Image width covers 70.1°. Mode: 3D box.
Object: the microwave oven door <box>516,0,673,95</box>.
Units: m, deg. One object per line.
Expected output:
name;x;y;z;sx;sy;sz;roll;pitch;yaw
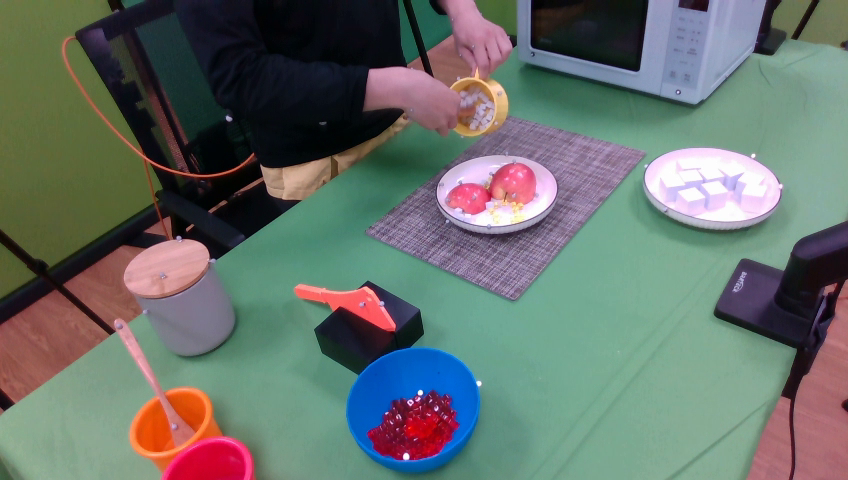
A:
microwave oven door;0.344;-0.458;1.257;0.353;0.245;0.039;26;51;33

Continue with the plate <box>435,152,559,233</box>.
plate;0.124;-0.078;1.026;0.209;0.038;0.208;-4;40;4

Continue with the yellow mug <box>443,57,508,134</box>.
yellow mug;0.094;-0.254;1.061;0.099;0.131;0.064;16;18;20

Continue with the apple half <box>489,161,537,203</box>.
apple half;0.154;-0.106;1.030;0.080;0.053;0.075;22;46;31

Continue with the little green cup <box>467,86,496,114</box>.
little green cup;0.123;-0.297;1.285;0.061;0.039;0.061;-6;41;6

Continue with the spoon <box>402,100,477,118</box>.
spoon;0.026;-0.221;1.016;0.041;0.021;0.195;32;30;28

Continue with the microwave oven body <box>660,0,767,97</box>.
microwave oven body;0.474;-0.517;1.313;0.438;0.261;0.327;26;51;34

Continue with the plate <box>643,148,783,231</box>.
plate;0.464;-0.080;0.986;0.207;0.039;0.206;-4;41;4

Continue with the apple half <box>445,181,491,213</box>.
apple half;0.076;-0.083;1.029;0.081;0.033;0.081;-2;42;2

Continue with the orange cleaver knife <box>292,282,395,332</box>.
orange cleaver knife;-0.116;0.091;0.835;0.209;0.077;0.012;2;32;48

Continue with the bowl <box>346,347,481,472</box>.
bowl;-0.008;0.205;0.691;0.151;0.077;0.150;-4;40;4

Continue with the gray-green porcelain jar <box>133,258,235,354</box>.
gray-green porcelain jar;-0.327;0.086;0.836;0.106;0.127;0.105;-4;41;4

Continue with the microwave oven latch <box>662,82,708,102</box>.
microwave oven latch;0.518;-0.298;1.203;0.078;0.029;0.030;28;53;35

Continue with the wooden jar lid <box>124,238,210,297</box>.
wooden jar lid;-0.335;0.038;0.794;0.108;0.021;0.108;-2;40;2

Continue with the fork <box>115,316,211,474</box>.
fork;-0.308;0.179;0.708;0.028;0.018;0.207;-30;89;-23
